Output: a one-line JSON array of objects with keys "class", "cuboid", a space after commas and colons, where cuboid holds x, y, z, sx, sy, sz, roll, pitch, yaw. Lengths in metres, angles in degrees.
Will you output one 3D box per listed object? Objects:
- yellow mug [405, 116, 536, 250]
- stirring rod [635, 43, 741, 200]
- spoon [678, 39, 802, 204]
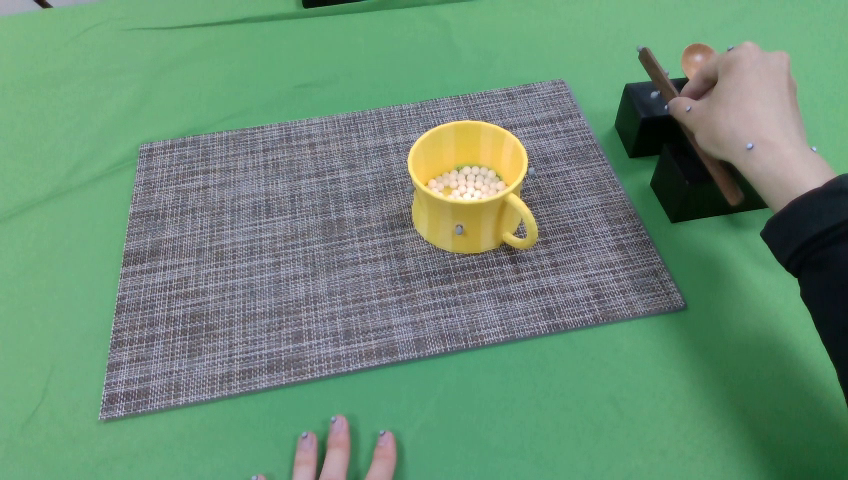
[{"class": "yellow mug", "cuboid": [0.046, -0.041, 0.515, 0.100, 0.064, 0.129, -36, 60, -23]}, {"class": "stirring rod", "cuboid": [0.221, -0.106, 0.517, 0.006, 0.014, 0.174, -6, 58, -20]}, {"class": "spoon", "cuboid": [0.274, -0.109, 0.528, 0.042, 0.022, 0.191, -9, 54, -6]}]
